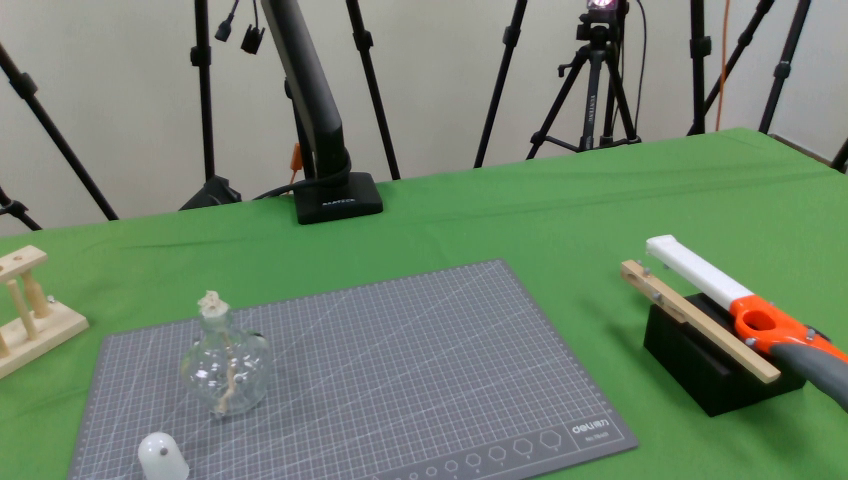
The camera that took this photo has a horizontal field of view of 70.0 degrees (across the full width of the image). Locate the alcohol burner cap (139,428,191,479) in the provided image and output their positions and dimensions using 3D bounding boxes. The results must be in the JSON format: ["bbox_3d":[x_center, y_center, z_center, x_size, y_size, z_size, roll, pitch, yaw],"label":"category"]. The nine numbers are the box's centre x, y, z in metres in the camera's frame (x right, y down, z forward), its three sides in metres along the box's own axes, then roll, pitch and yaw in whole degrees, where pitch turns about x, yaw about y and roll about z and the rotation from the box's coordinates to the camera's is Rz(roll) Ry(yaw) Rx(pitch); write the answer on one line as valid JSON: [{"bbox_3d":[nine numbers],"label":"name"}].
[{"bbox_3d":[-0.204,0.168,0.474,0.034,0.048,0.033,-1,32,1],"label":"alcohol burner cap"}]

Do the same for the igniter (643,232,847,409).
[{"bbox_3d":[0.290,0.062,0.544,0.057,0.025,0.273,-12,30,-13],"label":"igniter"}]

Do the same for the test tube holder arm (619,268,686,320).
[{"bbox_3d":[0.221,0.048,0.582,0.015,0.010,0.087,-20,32,-15],"label":"test tube holder arm"}]

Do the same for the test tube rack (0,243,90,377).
[{"bbox_3d":[-0.456,0.101,0.564,0.066,0.086,0.242,18,37,29],"label":"test tube rack"}]

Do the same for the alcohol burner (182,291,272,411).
[{"bbox_3d":[-0.174,0.092,0.529,0.078,0.120,0.077,0,33,1],"label":"alcohol burner"}]

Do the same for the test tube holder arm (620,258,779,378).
[{"bbox_3d":[0.237,0.063,0.542,0.015,0.013,0.176,-20,33,-15],"label":"test tube holder arm"}]
